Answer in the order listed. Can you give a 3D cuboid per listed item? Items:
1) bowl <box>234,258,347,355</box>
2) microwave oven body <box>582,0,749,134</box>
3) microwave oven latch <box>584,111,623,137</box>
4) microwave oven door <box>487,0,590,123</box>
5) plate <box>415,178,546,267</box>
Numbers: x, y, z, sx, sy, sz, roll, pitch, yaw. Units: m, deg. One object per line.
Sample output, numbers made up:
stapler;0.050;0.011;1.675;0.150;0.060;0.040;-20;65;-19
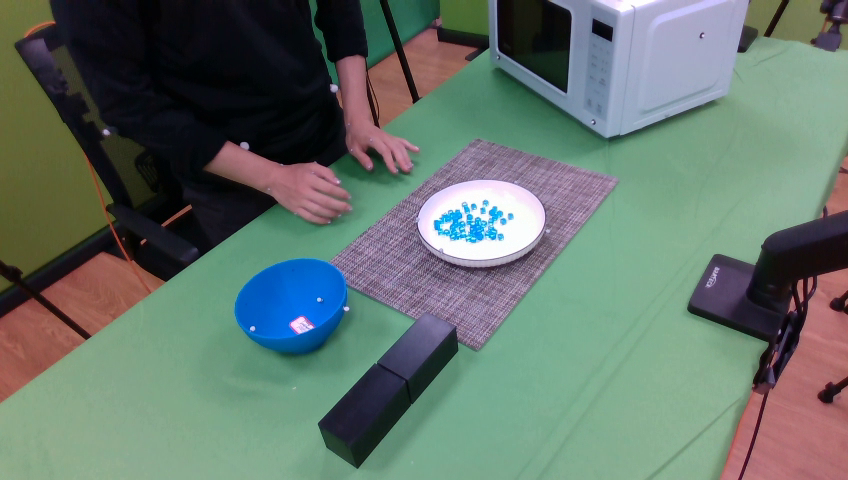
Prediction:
bowl;-0.174;0.103;0.831;0.151;0.077;0.150;-4;41;4
microwave oven body;0.382;-0.444;1.246;0.327;0.261;0.437;-22;42;-16
microwave oven latch;0.337;-0.222;1.142;0.030;0.029;0.078;-21;42;-14
microwave oven door;0.232;-0.420;1.231;0.039;0.245;0.352;-22;43;-16
plate;0.091;-0.026;0.970;0.207;0.039;0.206;-4;41;4
